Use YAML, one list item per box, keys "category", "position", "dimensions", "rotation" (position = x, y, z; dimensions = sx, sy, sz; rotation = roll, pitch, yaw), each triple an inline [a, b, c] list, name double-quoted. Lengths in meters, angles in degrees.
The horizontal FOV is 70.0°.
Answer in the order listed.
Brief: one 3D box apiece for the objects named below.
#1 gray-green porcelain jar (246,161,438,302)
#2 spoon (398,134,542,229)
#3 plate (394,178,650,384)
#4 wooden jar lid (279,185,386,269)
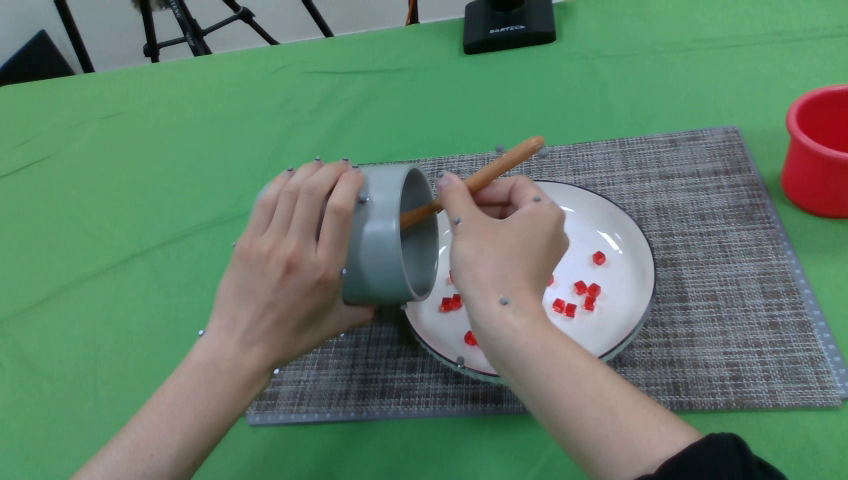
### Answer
- category: "gray-green porcelain jar"
  position: [-0.063, -0.005, 0.470]
  dimensions: [0.126, 0.107, 0.105]
  rotation: [-2, 48, 16]
- category: "spoon"
  position: [0.002, -0.027, 0.440]
  dimensions: [0.193, 0.022, 0.041]
  rotation: [-26, 48, 25]
- category: "plate"
  position: [0.078, 0.032, 0.507]
  dimensions: [0.207, 0.039, 0.205]
  rotation: [-7, 47, 8]
- category: "wooden jar lid"
  position: [-0.090, -0.012, 0.604]
  dimensions: [0.108, 0.021, 0.107]
  rotation: [-7, 46, 7]
